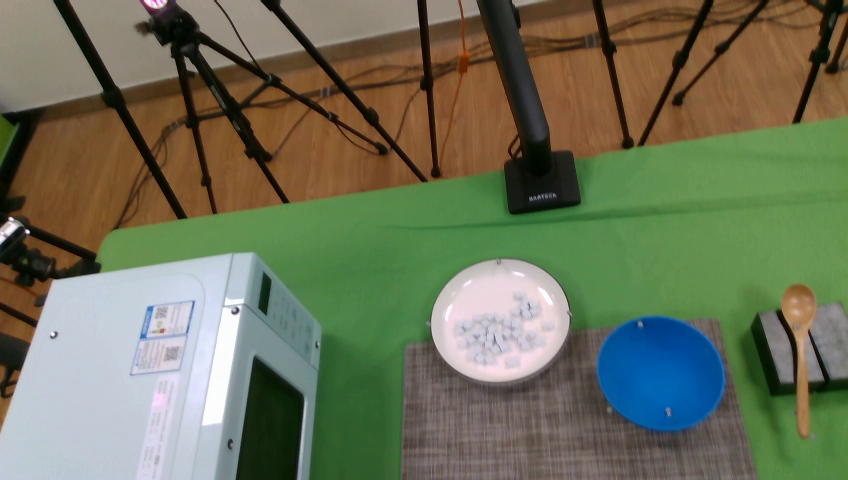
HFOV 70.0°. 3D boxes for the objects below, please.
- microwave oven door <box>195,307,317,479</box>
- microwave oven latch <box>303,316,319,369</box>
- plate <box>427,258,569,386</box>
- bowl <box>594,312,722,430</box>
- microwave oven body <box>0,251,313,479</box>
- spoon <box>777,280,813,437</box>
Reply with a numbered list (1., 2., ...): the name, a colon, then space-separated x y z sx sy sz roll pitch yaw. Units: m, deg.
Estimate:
1. microwave oven door: -0.201 0.291 0.738 0.039 0.246 0.352 -9 57 11
2. microwave oven latch: -0.180 0.160 0.938 0.030 0.030 0.078 -8 58 10
3. plate: 0.111 0.122 0.899 0.209 0.038 0.207 -8 54 11
4. bowl: 0.298 0.179 0.784 0.151 0.077 0.150 -7 57 12
5. microwave oven body: -0.343 0.280 0.790 0.325 0.263 0.437 -8 58 10
6. spoon: 0.460 0.142 0.746 0.041 0.022 0.192 6 65 14
